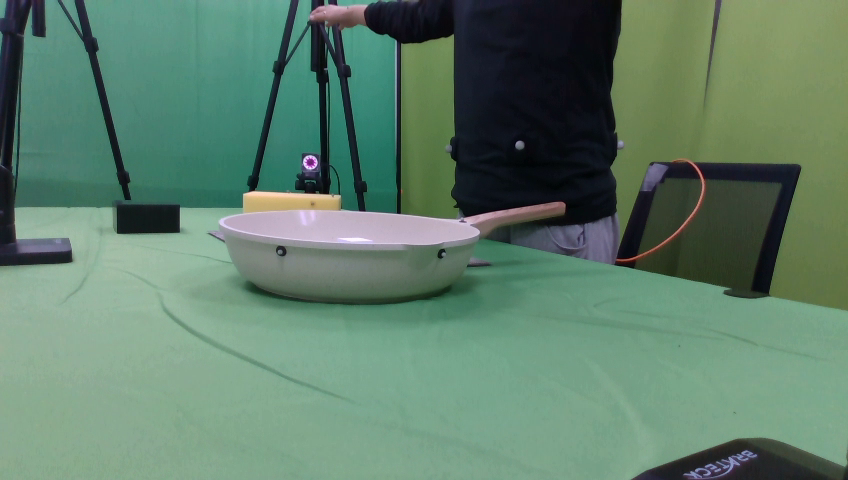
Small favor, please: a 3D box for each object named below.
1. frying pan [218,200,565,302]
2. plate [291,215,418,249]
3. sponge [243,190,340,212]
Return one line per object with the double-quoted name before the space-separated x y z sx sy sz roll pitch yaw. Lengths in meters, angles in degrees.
"frying pan" 0.003 -0.010 0.754 0.490 0.102 0.305 -12 16 -32
"plate" -0.115 -0.013 1.002 0.208 0.039 0.207 2 7 0
"sponge" -0.298 -0.077 1.388 0.207 0.061 0.118 2 8 -8
